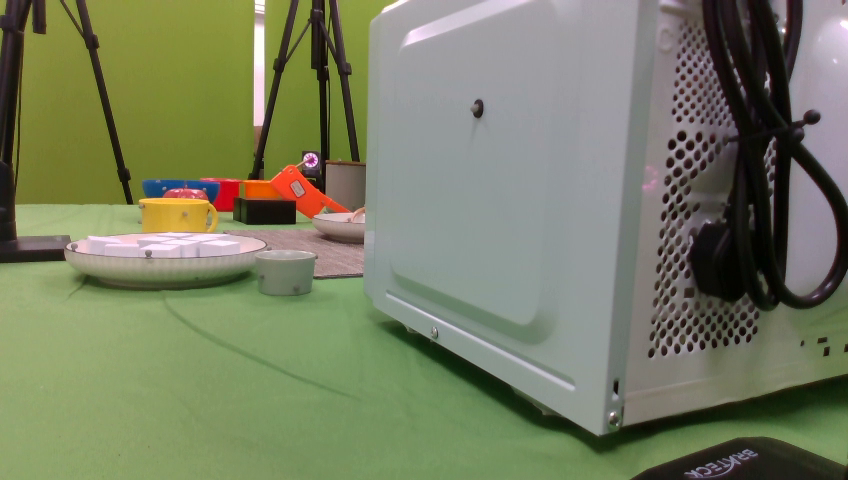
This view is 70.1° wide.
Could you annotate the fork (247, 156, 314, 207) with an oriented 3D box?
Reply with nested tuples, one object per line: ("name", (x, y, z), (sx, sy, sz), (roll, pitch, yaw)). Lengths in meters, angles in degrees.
("fork", (-0.360, -0.147, 1.522), (0.207, 0.018, 0.028), (-43, 8, -7))

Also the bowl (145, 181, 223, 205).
("bowl", (-0.499, -0.081, 1.261), (0.151, 0.077, 0.151), (2, 8, 0))

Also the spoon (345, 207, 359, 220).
("spoon", (-0.126, -0.047, 1.117), (0.041, 0.021, 0.194), (-1, 18, 14))

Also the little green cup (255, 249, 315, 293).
("little green cup", (-0.144, 0.031, 0.627), (0.061, 0.038, 0.061), (2, 6, 0))

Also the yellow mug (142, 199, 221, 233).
("yellow mug", (-0.373, -0.030, 0.948), (0.099, 0.064, 0.131), (6, 8, 30))

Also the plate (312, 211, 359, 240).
("plate", (-0.091, -0.026, 1.063), (0.209, 0.038, 0.209), (2, 7, 0))

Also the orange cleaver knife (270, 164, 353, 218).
("orange cleaver knife", (-0.240, -0.088, 1.329), (0.212, 0.077, 0.012), (36, -9, -33))

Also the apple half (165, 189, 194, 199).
("apple half", (-0.441, -0.055, 1.097), (0.053, 0.074, 0.081), (0, 10, 12))

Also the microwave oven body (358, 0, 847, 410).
("microwave oven body", (0.210, -0.051, 0.471), (0.444, 0.260, 0.324), (-1, 7, -28))

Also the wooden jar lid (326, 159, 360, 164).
("wooden jar lid", (-0.185, -0.187, 1.481), (0.108, 0.020, 0.108), (4, 6, 0))

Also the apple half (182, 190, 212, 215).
("apple half", (-0.402, -0.054, 1.090), (0.033, 0.081, 0.081), (0, 7, 12))

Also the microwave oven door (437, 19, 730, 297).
("microwave oven door", (0.181, -0.076, 0.618), (0.358, 0.243, 0.039), (-2, 9, -28))

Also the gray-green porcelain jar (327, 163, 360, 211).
("gray-green porcelain jar", (-0.186, -0.125, 1.490), (0.106, 0.126, 0.106), (2, 8, 0))

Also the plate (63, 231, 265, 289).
("plate", (-0.288, 0.021, 0.687), (0.208, 0.039, 0.207), (2, 8, 0))

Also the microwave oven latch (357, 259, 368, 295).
("microwave oven latch", (-0.019, 0.031, 0.530), (0.079, 0.029, 0.030), (-1, 7, -27))
